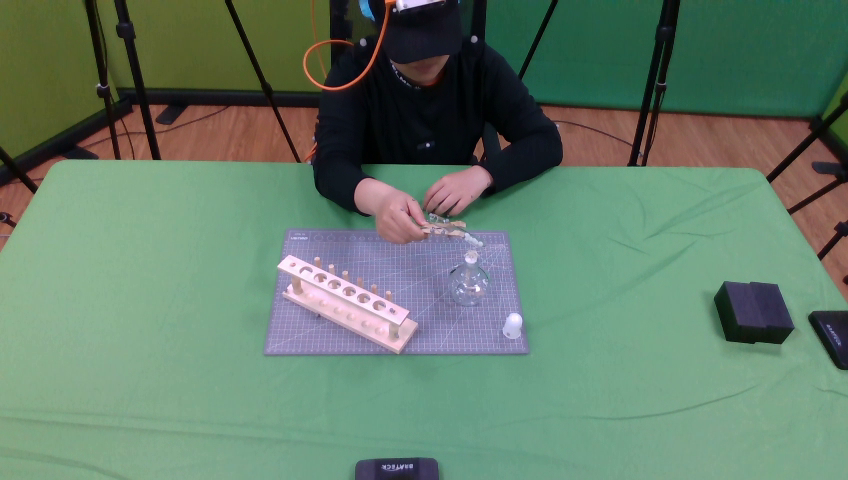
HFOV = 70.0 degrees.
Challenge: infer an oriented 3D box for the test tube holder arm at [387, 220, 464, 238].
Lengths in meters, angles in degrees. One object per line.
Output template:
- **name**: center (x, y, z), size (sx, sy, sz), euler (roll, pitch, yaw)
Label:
- **test tube holder arm**: center (-0.002, -0.020, 1.009), size (0.015, 0.013, 0.177), euler (15, -4, -43)

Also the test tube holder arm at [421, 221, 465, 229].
- **test tube holder arm**: center (0.030, -0.023, 0.977), size (0.087, 0.015, 0.010), euler (-4, 77, 45)

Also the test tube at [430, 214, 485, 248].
- **test tube**: center (0.056, -0.012, 0.976), size (0.017, 0.151, 0.017), euler (-13, 66, 33)

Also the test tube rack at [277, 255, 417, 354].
- **test tube rack**: center (-0.131, 0.099, 1.045), size (0.241, 0.085, 0.066), euler (23, 49, 17)

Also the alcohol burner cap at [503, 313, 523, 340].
- **alcohol burner cap**: center (0.156, 0.148, 1.051), size (0.034, 0.048, 0.033), euler (1, 45, -1)

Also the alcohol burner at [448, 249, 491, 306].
- **alcohol burner**: center (0.081, 0.062, 1.078), size (0.078, 0.120, 0.077), euler (1, 45, -1)
